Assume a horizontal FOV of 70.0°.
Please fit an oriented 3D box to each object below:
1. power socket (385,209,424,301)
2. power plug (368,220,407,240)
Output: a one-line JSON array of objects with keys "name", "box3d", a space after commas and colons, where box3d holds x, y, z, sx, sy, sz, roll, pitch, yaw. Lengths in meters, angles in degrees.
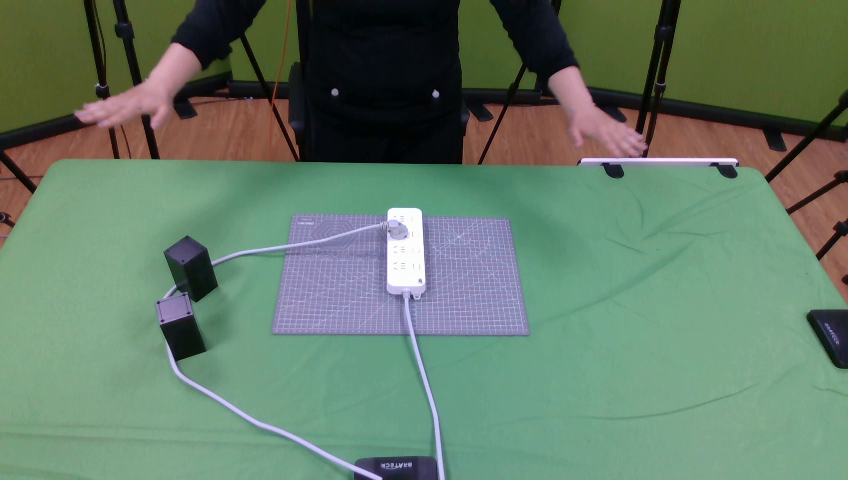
[{"name": "power socket", "box3d": [-0.039, 0.019, 1.165, 0.072, 0.033, 0.225, 0, 46, -3]}, {"name": "power plug", "box3d": [-0.068, -0.018, 1.172, 0.072, 0.053, 0.035, 7, 45, 5]}]
